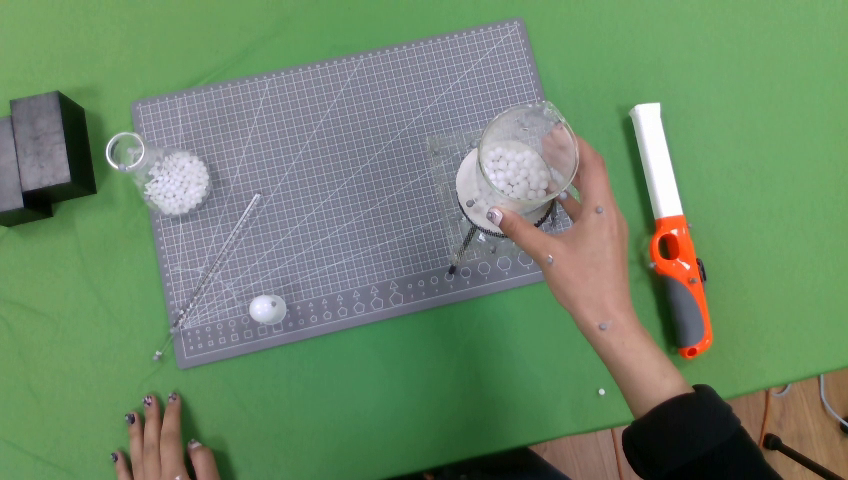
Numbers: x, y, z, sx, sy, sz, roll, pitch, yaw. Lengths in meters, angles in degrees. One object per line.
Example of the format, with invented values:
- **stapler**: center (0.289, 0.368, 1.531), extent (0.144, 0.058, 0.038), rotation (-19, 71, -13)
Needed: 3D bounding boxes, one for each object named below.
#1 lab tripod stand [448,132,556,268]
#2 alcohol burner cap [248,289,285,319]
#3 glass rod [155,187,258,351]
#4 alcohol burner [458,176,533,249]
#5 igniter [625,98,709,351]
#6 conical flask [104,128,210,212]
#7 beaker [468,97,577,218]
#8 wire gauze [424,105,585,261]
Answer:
- **lab tripod stand**: center (0.070, -0.038, 0.596), extent (0.148, 0.132, 0.148), rotation (0, 84, -1)
- **alcohol burner cap**: center (-0.165, 0.065, 0.624), extent (0.034, 0.048, 0.033), rotation (0, 82, -1)
- **glass rod**: center (-0.230, 0.028, 0.643), extent (0.008, 0.008, 0.199), rotation (29, 83, 3)
- **alcohol burner**: center (0.073, -0.031, 0.605), extent (0.078, 0.119, 0.077), rotation (0, 82, 1)
- **igniter**: center (0.262, -0.020, 0.654), extent (0.057, 0.025, 0.275), rotation (-8, 82, -13)
- **conical flask**: center (-0.268, -0.074, 0.600), extent (0.075, 0.122, 0.075), rotation (0, 81, -1)
- **beaker**: center (0.074, -0.062, 0.485), extent (0.074, 0.100, 0.084), rotation (23, 83, 2)
- **wire gauze**: center (0.071, -0.050, 0.532), extent (0.125, 0.011, 0.121), rotation (-11, 85, -4)
